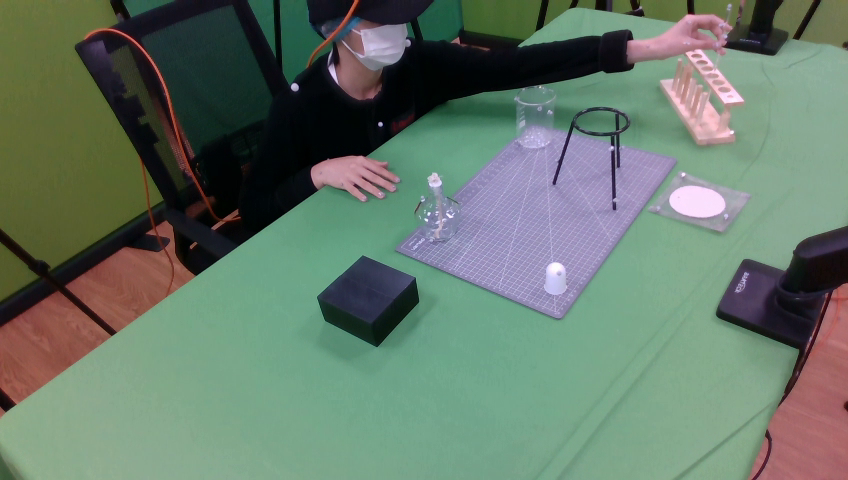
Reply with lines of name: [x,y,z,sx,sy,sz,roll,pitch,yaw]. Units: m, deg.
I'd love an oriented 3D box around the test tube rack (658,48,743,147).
test tube rack: [0.532,-0.284,1.181,0.067,0.085,0.241,-5,40,4]

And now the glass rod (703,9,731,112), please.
glass rod: [0.544,-0.328,1.127,0.008,0.200,0.008,-3,38,3]

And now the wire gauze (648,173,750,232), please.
wire gauze: [0.451,-0.062,0.990,0.120,0.011,0.125,26,49,32]

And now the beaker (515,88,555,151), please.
beaker: [0.213,-0.230,1.152,0.073,0.101,0.084,20,47,29]

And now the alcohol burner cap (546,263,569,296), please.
alcohol burner cap: [0.191,0.053,0.862,0.034,0.048,0.033,-5,40,4]

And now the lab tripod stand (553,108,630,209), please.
lab tripod stand: [0.292,-0.144,1.010,0.148,0.132,0.147,-5,38,4]

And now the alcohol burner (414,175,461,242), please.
alcohol burner: [0.021,-0.055,0.963,0.078,0.119,0.077,-4,41,4]
